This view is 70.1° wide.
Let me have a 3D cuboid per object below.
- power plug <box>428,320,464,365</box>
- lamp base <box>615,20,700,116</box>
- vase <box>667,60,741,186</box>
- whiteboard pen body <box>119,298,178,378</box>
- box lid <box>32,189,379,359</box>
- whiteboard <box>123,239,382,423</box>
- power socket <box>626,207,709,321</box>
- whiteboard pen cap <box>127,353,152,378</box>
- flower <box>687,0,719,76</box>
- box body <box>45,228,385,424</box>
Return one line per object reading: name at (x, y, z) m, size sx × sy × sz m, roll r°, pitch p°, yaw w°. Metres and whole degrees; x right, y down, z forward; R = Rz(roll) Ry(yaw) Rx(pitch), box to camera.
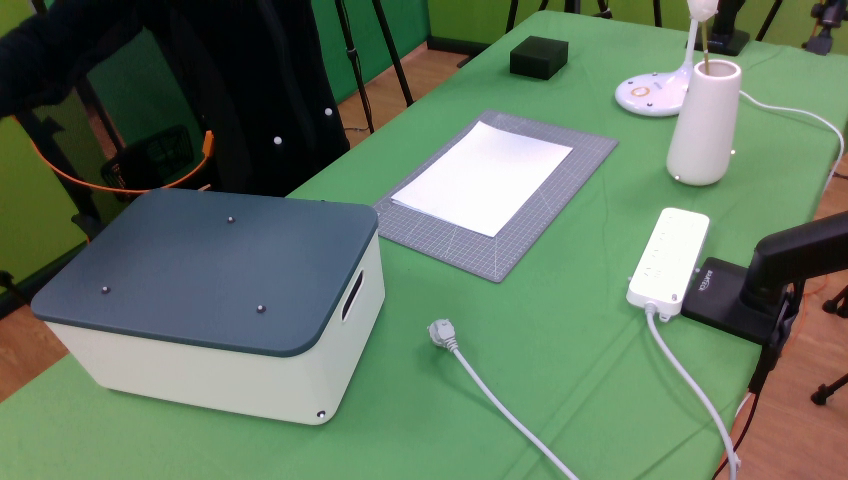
power plug at (0.027, 0.139, 0.797) m, size 0.035 × 0.053 × 0.072 m, roll -9°, pitch 61°, yaw -6°
lamp base at (0.484, -0.364, 1.211) m, size 0.180 × 0.181 × 0.159 m, roll -15°, pitch 41°, yaw -14°
vase at (0.463, -0.189, 0.994) m, size 0.098 × 0.201 × 0.097 m, roll -4°, pitch 40°, yaw 4°
whiteboard pen body at (-0.396, 0.139, 0.869) m, size 0.017 × 0.017 × 0.140 m, roll 6°, pitch 46°, yaw 15°
box lid at (-0.260, 0.025, 0.758) m, size 0.370 × 0.015 × 0.263 m, roll 5°, pitch 41°, yaw 14°
whiteboard at (-0.242, 0.094, 0.809) m, size 0.304 × 0.144 × 0.216 m, roll 5°, pitch 45°, yaw 13°
power socket at (0.360, 0.026, 0.886) m, size 0.072 × 0.033 × 0.227 m, roll 17°, pitch 46°, yaw 27°
whiteboard pen cap at (-0.385, 0.170, 0.819) m, size 0.018 × 0.018 × 0.033 m, roll 7°, pitch 41°, yaw 16°
flower at (0.436, -0.242, 0.934) m, size 0.038 × 0.364 × 0.043 m, roll -24°, pitch 49°, yaw 8°
box body at (-0.254, 0.081, 0.807) m, size 0.363 × 0.161 × 0.253 m, roll 5°, pitch 42°, yaw 14°
